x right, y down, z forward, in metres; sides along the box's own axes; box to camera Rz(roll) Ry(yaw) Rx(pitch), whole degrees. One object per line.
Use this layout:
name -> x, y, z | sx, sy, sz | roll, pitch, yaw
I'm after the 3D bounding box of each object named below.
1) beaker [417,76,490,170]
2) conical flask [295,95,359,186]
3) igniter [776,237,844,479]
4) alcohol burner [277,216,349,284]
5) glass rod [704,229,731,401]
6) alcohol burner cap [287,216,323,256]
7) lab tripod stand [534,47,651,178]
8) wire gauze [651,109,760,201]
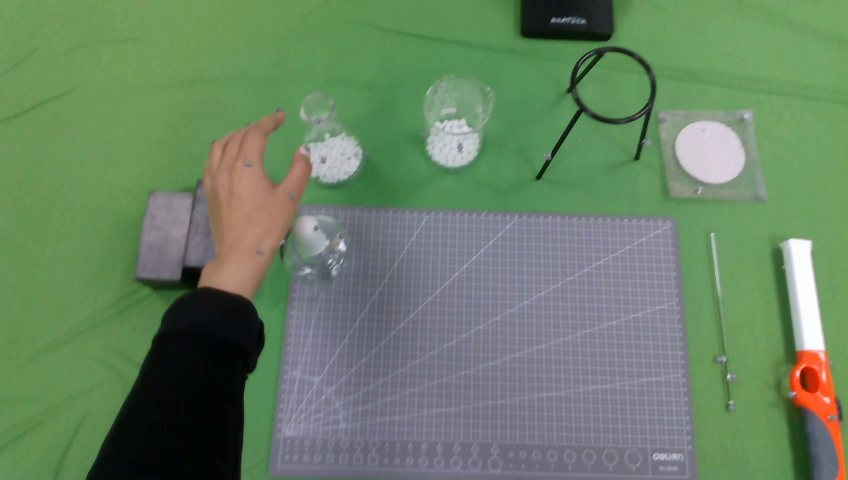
beaker -> 0.033, -0.132, 0.702 | 0.084, 0.101, 0.073 | -23, 75, -8
conical flask -> -0.116, -0.116, 0.681 | 0.075, 0.122, 0.075 | 0, 73, -1
igniter -> 0.424, 0.130, 0.669 | 0.057, 0.025, 0.275 | 5, 73, -11
alcohol burner -> -0.122, 0.006, 0.646 | 0.078, 0.120, 0.077 | 0, 73, 1
glass rod -> 0.334, 0.082, 0.691 | 0.008, 0.008, 0.198 | 1, 74, -1
alcohol burner cap -> -0.122, -0.007, 0.612 | 0.034, 0.048, 0.033 | 1, 67, -2
lab tripod stand -> 0.189, -0.140, 0.689 | 0.148, 0.132, 0.147 | 0, 75, -1
wire gauze -> 0.348, -0.107, 0.748 | 0.125, 0.011, 0.121 | 1, 74, -3
